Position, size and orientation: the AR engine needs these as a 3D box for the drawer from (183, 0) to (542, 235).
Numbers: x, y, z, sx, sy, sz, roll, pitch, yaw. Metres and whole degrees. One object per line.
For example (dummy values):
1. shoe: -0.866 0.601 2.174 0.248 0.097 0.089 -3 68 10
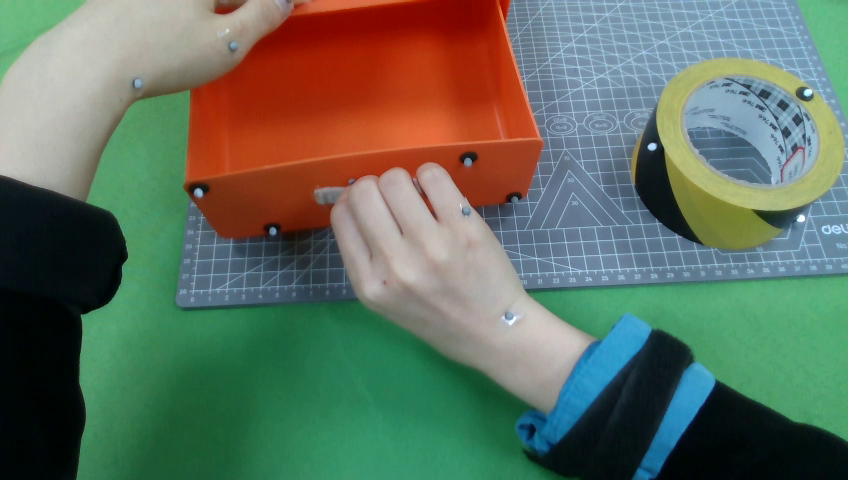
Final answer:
1. drawer: -0.046 -0.118 0.392 0.195 0.074 0.210 -8 65 -4

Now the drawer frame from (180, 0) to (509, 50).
1. drawer frame: -0.063 -0.214 0.434 0.202 0.083 0.211 -10 65 -4

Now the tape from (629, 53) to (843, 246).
1. tape: 0.192 -0.056 0.380 0.117 0.053 0.116 0 66 0
